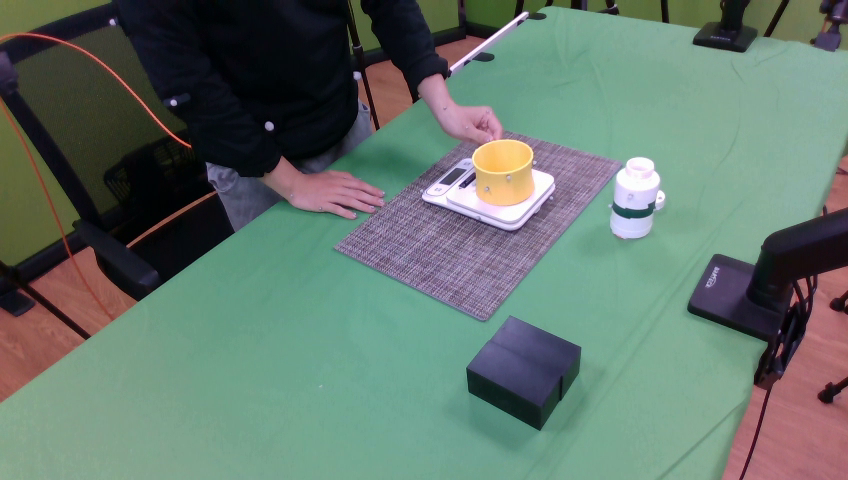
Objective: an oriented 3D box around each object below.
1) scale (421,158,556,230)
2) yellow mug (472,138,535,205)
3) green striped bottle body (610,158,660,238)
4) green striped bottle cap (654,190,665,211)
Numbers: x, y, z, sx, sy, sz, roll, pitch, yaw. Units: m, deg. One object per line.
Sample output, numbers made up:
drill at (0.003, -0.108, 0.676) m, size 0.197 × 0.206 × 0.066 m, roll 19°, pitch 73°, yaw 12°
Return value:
scale at (0.110, -0.089, 1.042) m, size 0.199 × 0.032 × 0.149 m, roll 23°, pitch 48°, yaw 31°
yellow mug at (0.128, -0.123, 1.004) m, size 0.100 × 0.064 × 0.130 m, roll -15°, pitch 40°, yaw -5°
green striped bottle body at (0.323, -0.066, 0.924) m, size 0.063 × 0.120 × 0.063 m, roll -4°, pitch 41°, yaw 4°
green striped bottle cap at (0.375, -0.066, 0.998) m, size 0.044 × 0.020 × 0.044 m, roll -8°, pitch 37°, yaw 7°
